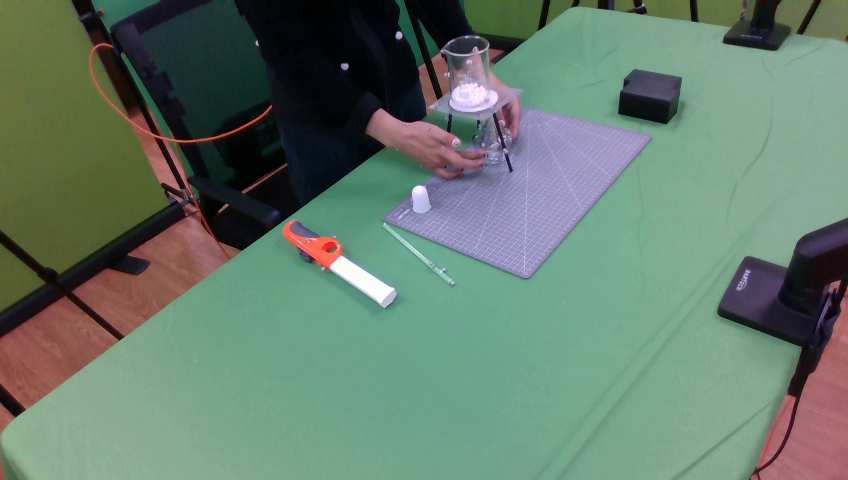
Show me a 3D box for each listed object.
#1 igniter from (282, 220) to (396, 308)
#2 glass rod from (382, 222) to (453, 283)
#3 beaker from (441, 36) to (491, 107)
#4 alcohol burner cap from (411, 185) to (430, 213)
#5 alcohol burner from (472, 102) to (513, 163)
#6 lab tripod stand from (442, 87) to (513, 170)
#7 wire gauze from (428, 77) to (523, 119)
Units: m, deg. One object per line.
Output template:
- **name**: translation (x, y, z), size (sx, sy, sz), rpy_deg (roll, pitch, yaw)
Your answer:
- **igniter**: translation (-0.146, 0.032, 0.966), size (0.274, 0.025, 0.057), rpy_deg (30, 64, 37)
- **glass rod**: translation (-0.014, 0.016, 0.976), size (0.008, 0.008, 0.198), rpy_deg (-30, 44, -22)
- **beaker**: translation (0.074, -0.287, 1.036), size (0.084, 0.101, 0.073), rpy_deg (-1, 41, 8)
- **alcohol burner cap**: translation (-0.008, -0.074, 1.050), size (0.034, 0.048, 0.033), rpy_deg (-4, 40, 4)
- **alcohol burner**: translation (0.126, -0.204, 1.122), size (0.078, 0.119, 0.077), rpy_deg (-4, 42, 4)
- **lab tripod stand**: translation (0.097, -0.201, 1.108), size (0.148, 0.132, 0.147), rpy_deg (-4, 40, 4)
- **wire gauze**: translation (0.090, -0.249, 1.063), size (0.120, 0.011, 0.125), rpy_deg (24, 48, 30)
